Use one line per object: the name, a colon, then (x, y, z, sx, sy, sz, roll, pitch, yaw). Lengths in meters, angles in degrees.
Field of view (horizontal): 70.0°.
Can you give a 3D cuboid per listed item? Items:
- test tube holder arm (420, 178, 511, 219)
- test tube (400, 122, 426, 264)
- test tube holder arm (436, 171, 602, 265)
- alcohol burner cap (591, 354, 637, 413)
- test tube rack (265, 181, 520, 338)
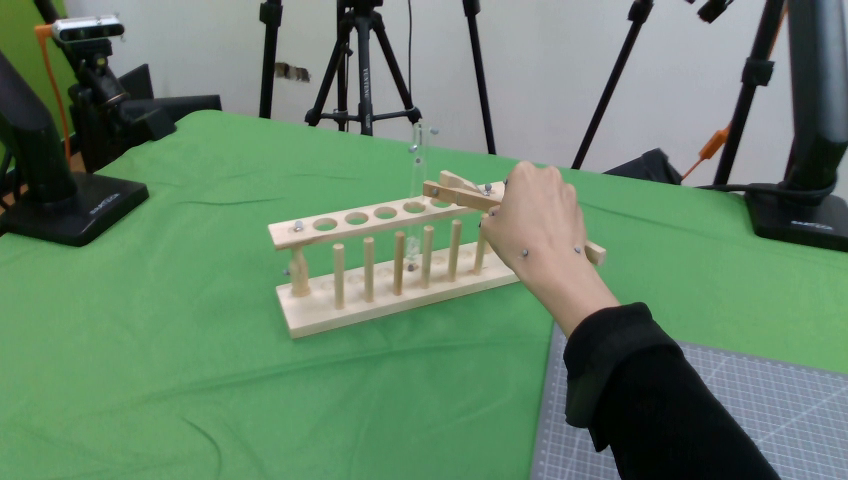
test tube holder arm: (0.037, -0.037, 0.532, 0.087, 0.015, 0.010, 18, 33, 22)
test tube: (-0.011, -0.040, 0.582, 0.017, 0.151, 0.017, 4, 32, -2)
test tube holder arm: (0.074, -0.023, 0.512, 0.013, 0.015, 0.176, -25, 41, -37)
alcohol burner cap: (0.157, 0.114, 0.494, 0.034, 0.048, 0.033, 2, 36, -1)
test tube rack: (-0.022, 0.014, 0.590, 0.243, 0.086, 0.066, -12, 38, -20)
